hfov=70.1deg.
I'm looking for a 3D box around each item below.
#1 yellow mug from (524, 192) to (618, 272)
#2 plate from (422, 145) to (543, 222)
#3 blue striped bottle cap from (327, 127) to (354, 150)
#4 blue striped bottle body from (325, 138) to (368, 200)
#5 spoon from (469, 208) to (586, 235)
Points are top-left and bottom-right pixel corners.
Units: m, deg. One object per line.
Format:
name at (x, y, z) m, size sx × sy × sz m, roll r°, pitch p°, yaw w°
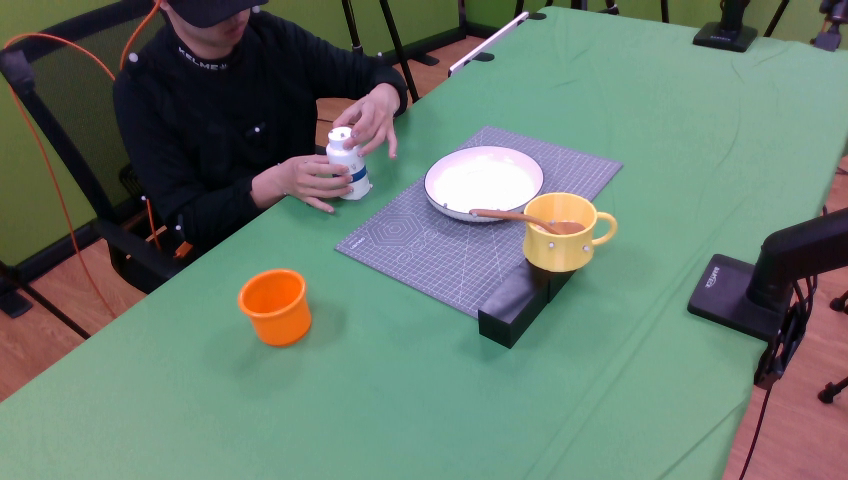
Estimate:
yellow mug at (0.206, -0.014, 0.845) m, size 0.131 × 0.064 × 0.099 m, roll -4°, pitch 41°, yaw 2°
plate at (0.101, -0.094, 1.048) m, size 0.207 × 0.039 × 0.206 m, roll -4°, pitch 41°, yaw 4°
blue striped bottle cap at (-0.143, -0.175, 1.037) m, size 0.044 × 0.021 × 0.044 m, roll -5°, pitch 45°, yaw 5°
blue striped bottle body at (-0.138, -0.135, 1.070) m, size 0.063 × 0.121 × 0.063 m, roll -4°, pitch 40°, yaw 3°
spoon at (0.143, -0.026, 0.817) m, size 0.195 × 0.021 × 0.041 m, roll 12°, pitch 34°, yaw -29°
